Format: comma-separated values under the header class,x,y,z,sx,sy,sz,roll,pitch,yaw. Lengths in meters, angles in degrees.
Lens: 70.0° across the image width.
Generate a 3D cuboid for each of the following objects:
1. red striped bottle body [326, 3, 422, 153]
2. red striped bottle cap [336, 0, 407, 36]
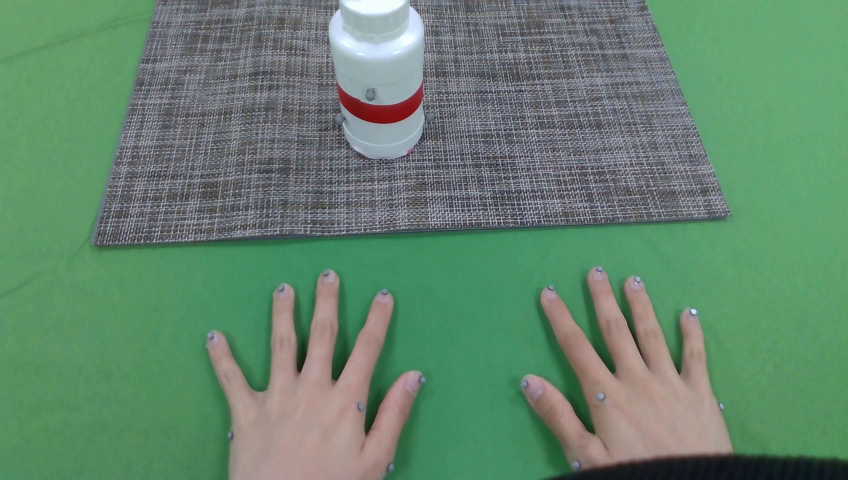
class,x,y,z,sx,sy,sz,roll,pitch,yaw
red striped bottle body,-0.033,-0.122,0.424,0.063,0.120,0.062,0,58,0
red striped bottle cap,-0.033,-0.150,0.379,0.044,0.018,0.044,1,62,-1
